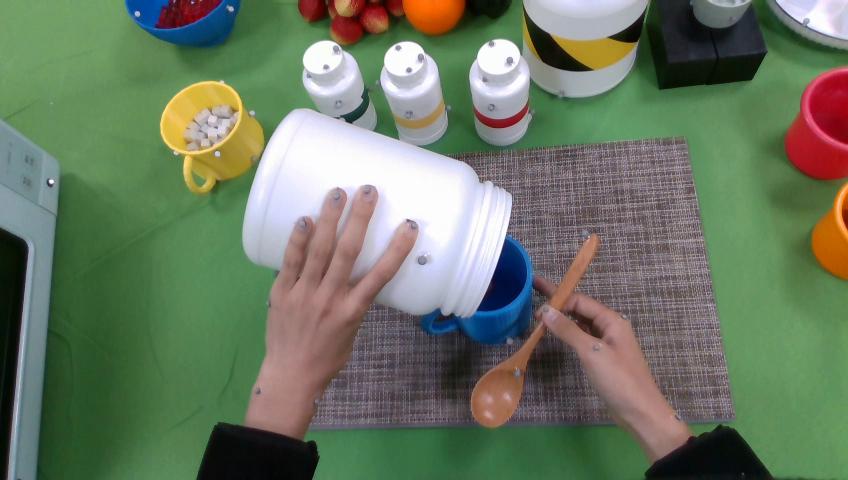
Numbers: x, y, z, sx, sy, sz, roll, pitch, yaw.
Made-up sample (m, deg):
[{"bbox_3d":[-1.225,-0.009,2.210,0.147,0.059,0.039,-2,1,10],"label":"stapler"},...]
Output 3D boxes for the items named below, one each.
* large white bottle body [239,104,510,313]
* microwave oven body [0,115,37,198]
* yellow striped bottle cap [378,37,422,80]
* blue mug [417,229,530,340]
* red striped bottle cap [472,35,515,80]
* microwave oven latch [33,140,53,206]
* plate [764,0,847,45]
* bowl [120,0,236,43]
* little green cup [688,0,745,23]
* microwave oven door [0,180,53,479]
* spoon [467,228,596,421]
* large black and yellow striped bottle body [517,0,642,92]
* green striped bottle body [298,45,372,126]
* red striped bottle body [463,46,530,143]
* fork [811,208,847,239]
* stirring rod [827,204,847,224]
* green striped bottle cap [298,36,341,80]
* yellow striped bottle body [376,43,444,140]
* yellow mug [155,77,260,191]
[{"bbox_3d":[-0.036,-0.019,0.483,0.185,0.131,0.130,18,72,-4],"label":"large white bottle body"},{"bbox_3d":[-0.597,0.078,0.583,0.326,0.262,0.438,-12,68,3],"label":"microwave oven body"},{"bbox_3d":[-0.025,-0.186,0.622,0.044,0.019,0.044,-1,65,3],"label":"yellow striped bottle cap"},{"bbox_3d":[0.045,0.052,0.579,0.116,0.107,0.081,-30,66,-4],"label":"blue mug"},{"bbox_3d":[0.070,-0.184,0.607,0.044,0.018,0.044,-2,67,4],"label":"red striped bottle cap"},{"bbox_3d":[-0.468,-0.078,0.728,0.030,0.030,0.078,-10,69,4],"label":"microwave oven latch"},{"bbox_3d":[0.485,-0.305,0.693,0.209,0.038,0.207,-3,69,8],"label":"plate"},{"bbox_3d":[-0.306,-0.315,0.794,0.151,0.077,0.150,-3,69,7],"label":"bowl"},{"bbox_3d":[0.315,-0.266,0.647,0.061,0.039,0.061,-2,66,5],"label":"little green cup"},{"bbox_3d":[-0.449,0.085,0.553,0.039,0.246,0.353,-12,68,4],"label":"microwave oven door"},{"bbox_3d":[0.096,0.075,0.526,0.041,0.021,0.194,32,103,6],"label":"spoon"},{"bbox_3d":[0.165,-0.261,0.645,0.130,0.185,0.130,-3,68,8],"label":"large black and yellow striped bottle body"},{"bbox_3d":[-0.101,-0.173,0.685,0.063,0.120,0.062,-3,68,7],"label":"green striped bottle body"},{"bbox_3d":[0.079,-0.163,0.655,0.063,0.121,0.062,-6,64,13],"label":"red striped bottle body"},{"bbox_3d":[0.434,0.004,0.520,0.028,0.019,0.205,-41,24,-6],"label":"fork"},{"bbox_3d":[0.405,0.004,0.532,0.014,0.006,0.175,-1,26,6],"label":"stirring rod"},{"bbox_3d":[-0.110,-0.192,0.637,0.044,0.020,0.044,-2,67,6],"label":"green striped bottle cap"},{"bbox_3d":[-0.016,-0.168,0.670,0.063,0.121,0.062,-3,68,8],"label":"yellow striped bottle body"},{"bbox_3d":[-0.259,-0.120,0.718,0.100,0.064,0.130,6,71,11],"label":"yellow mug"}]
